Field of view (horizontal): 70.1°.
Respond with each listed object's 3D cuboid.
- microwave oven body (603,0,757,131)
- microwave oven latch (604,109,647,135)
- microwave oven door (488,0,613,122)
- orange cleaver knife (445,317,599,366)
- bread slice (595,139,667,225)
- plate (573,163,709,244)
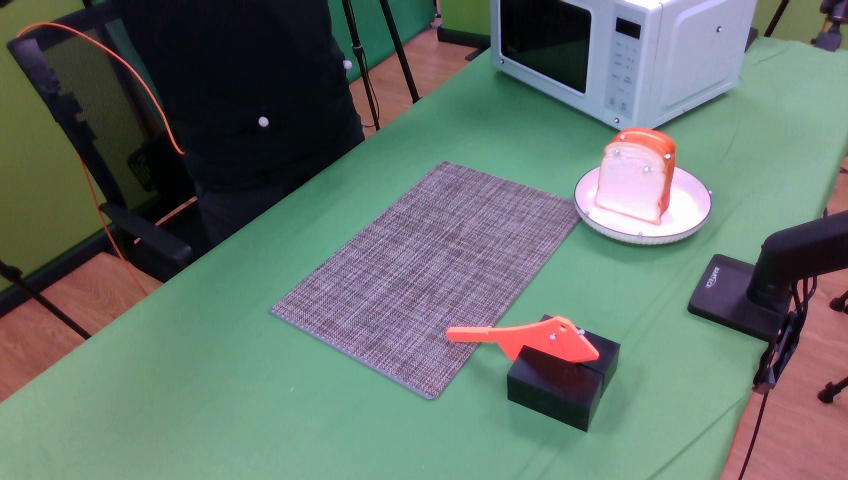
[{"bbox_3d":[0.396,-0.448,1.248,0.327,0.261,0.437,-27,44,-21],"label":"microwave oven body"},{"bbox_3d":[0.378,-0.225,1.139,0.030,0.029,0.078,-26,43,-20],"label":"microwave oven latch"},{"bbox_3d":[0.250,-0.412,1.219,0.039,0.245,0.352,-27,44,-21],"label":"microwave oven door"},{"bbox_3d":[0.115,0.129,0.751,0.210,0.077,0.012,-11,31,44],"label":"orange cleaver knife"},{"bbox_3d":[0.321,-0.093,0.936,0.106,0.135,0.018,17,44,31],"label":"bread slice"},{"bbox_3d":[0.347,-0.059,0.979,0.207,0.039,0.206,-4,41,4],"label":"plate"}]
